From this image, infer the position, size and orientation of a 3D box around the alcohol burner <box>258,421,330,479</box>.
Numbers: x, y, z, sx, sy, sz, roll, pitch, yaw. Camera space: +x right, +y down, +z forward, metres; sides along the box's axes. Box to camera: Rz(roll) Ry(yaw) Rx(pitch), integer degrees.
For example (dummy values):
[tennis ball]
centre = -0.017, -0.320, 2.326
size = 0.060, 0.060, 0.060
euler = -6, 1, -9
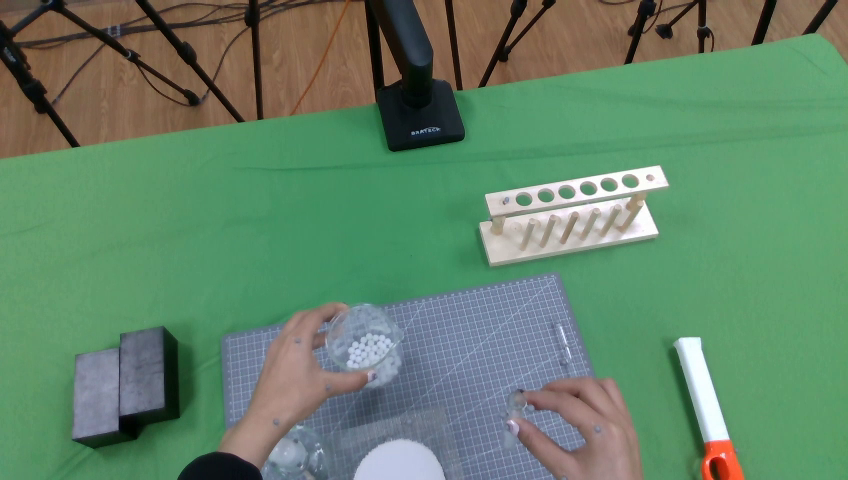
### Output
[alcohol burner]
centre = -0.142, 0.230, 0.650
size = 0.078, 0.120, 0.077
euler = 1, 59, -1

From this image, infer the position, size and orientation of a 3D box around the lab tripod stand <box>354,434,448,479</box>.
[lab tripod stand]
centre = -0.025, 0.259, 0.627
size = 0.148, 0.132, 0.147
euler = 0, 61, 0

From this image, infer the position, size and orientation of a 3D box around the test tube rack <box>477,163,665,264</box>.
[test tube rack]
centre = 0.201, -0.035, 0.822
size = 0.243, 0.086, 0.066
euler = -10, 62, -7

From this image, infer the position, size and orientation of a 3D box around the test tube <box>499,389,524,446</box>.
[test tube]
centre = 0.078, 0.164, 0.547
size = 0.017, 0.151, 0.017
euler = -2, 59, 4

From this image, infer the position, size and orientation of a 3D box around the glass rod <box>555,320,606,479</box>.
[glass rod]
centre = 0.190, 0.192, 0.741
size = 0.008, 0.008, 0.198
euler = -9, 65, -7

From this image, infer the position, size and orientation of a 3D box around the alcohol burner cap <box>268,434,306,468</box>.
[alcohol burner cap]
centre = -0.141, 0.214, 0.618
size = 0.034, 0.048, 0.033
euler = -1, 66, 3

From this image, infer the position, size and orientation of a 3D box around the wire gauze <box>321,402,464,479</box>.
[wire gauze]
centre = -0.026, 0.224, 0.569
size = 0.125, 0.011, 0.120
euler = -13, 62, -9

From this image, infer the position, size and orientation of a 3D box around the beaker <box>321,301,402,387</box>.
[beaker]
centre = -0.062, 0.119, 0.674
size = 0.084, 0.101, 0.073
euler = -4, 64, 2

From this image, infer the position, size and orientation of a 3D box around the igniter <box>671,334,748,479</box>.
[igniter]
centre = 0.343, 0.243, 0.711
size = 0.057, 0.025, 0.274
euler = 1, 61, -12
